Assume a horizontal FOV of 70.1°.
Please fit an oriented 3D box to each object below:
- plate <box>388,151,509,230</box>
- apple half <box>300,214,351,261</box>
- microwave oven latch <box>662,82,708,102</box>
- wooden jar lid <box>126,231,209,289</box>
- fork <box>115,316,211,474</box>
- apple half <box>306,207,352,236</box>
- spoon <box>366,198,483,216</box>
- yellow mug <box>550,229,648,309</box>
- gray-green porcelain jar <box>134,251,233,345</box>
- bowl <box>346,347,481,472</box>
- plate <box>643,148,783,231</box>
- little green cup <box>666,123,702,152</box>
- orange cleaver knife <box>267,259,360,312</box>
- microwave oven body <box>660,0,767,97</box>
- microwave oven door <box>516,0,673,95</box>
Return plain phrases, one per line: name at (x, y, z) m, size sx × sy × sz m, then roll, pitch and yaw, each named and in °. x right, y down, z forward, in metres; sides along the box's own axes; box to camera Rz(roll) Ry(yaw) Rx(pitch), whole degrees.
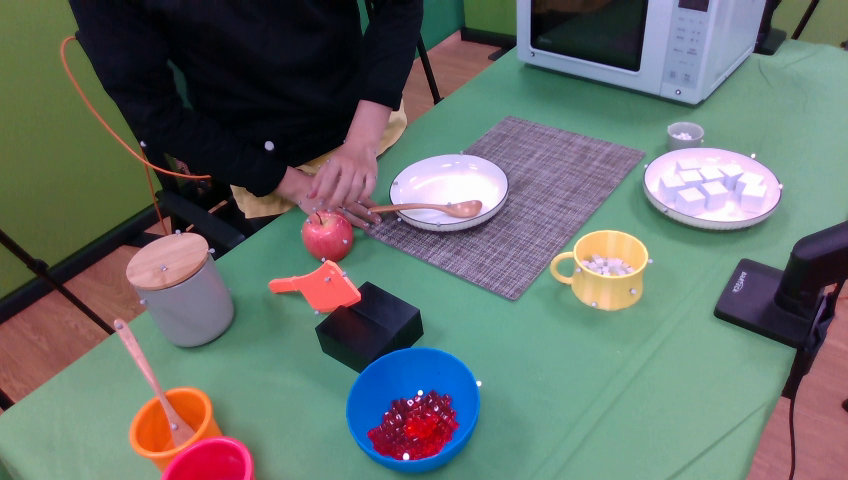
plate at (0.043, -0.082, 1.042) m, size 0.209 × 0.038 × 0.208 m, roll -4°, pitch 40°, yaw 4°
apple half at (-0.159, 0.001, 0.954) m, size 0.080 × 0.075 × 0.053 m, roll 6°, pitch 45°, yaw 10°
microwave oven latch at (0.517, -0.298, 1.203) m, size 0.078 × 0.029 × 0.030 m, roll 28°, pitch 53°, yaw 35°
wooden jar lid at (-0.340, 0.030, 0.808) m, size 0.108 × 0.021 × 0.108 m, roll -5°, pitch 39°, yaw 5°
fork at (-0.308, 0.179, 0.708) m, size 0.028 × 0.018 × 0.207 m, roll -30°, pitch 89°, yaw -21°
apple half at (-0.150, -0.024, 0.979) m, size 0.081 × 0.081 × 0.032 m, roll 2°, pitch 38°, yaw 10°
spoon at (0.001, -0.056, 0.997) m, size 0.194 × 0.022 × 0.041 m, roll 1°, pitch 50°, yaw -9°
yellow mug at (0.245, 0.040, 0.857) m, size 0.130 × 0.064 × 0.099 m, roll 1°, pitch 42°, yaw 11°
gray-green porcelain jar at (-0.334, 0.076, 0.849) m, size 0.106 × 0.127 × 0.105 m, roll -4°, pitch 41°, yaw 4°
bowl at (-0.008, 0.205, 0.691) m, size 0.151 × 0.077 × 0.150 m, roll -4°, pitch 40°, yaw 4°
plate at (0.464, -0.079, 0.986) m, size 0.207 × 0.039 × 0.206 m, roll -4°, pitch 41°, yaw 4°
little green cup at (0.472, -0.183, 1.102) m, size 0.061 × 0.039 × 0.061 m, roll -5°, pitch 41°, yaw 5°
orange cleaver knife at (-0.161, 0.070, 0.859) m, size 0.210 × 0.077 × 0.012 m, roll -13°, pitch 22°, yaw 49°
microwave oven body at (0.473, -0.517, 1.314) m, size 0.438 × 0.261 × 0.327 m, roll 26°, pitch 51°, yaw 34°
microwave oven door at (0.344, -0.458, 1.256) m, size 0.353 × 0.245 × 0.039 m, roll 26°, pitch 51°, yaw 33°
